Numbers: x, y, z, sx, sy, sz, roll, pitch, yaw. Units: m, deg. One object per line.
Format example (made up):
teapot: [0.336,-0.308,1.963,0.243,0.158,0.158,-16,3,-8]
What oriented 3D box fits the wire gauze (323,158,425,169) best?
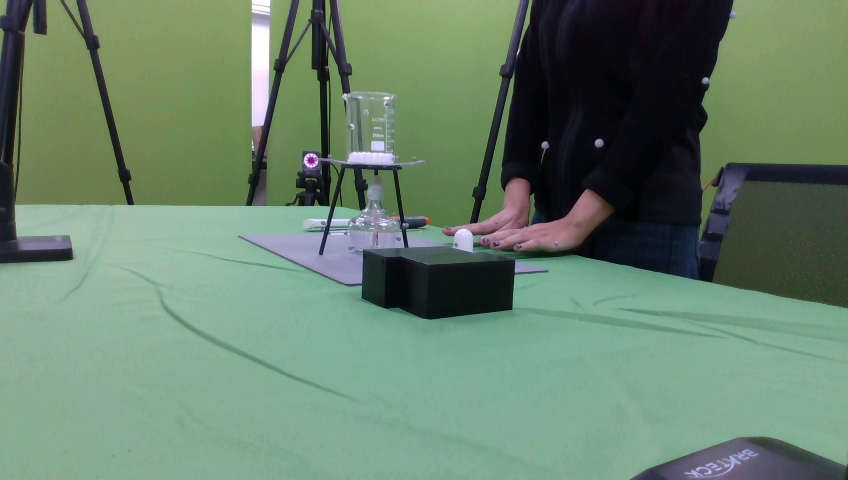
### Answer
wire gauze: [-0.080,-0.112,0.869,0.122,0.011,0.124,-6,12,-35]

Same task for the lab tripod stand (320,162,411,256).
lab tripod stand: [-0.080,-0.047,0.879,0.148,0.131,0.148,2,9,0]

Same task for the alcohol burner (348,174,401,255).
alcohol burner: [-0.073,-0.037,0.885,0.078,0.119,0.078,2,9,0]

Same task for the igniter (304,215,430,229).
igniter: [-0.109,-0.037,1.228,0.278,0.025,0.057,-3,-1,-35]

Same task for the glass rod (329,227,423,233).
glass rod: [-0.087,-0.019,1.148,0.201,0.008,0.008,-3,8,-32]

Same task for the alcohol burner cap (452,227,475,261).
alcohol burner cap: [0.057,0.005,0.872,0.034,0.048,0.034,3,7,0]

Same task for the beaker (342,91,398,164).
beaker: [-0.079,-0.160,0.867,0.084,0.100,0.073,-5,10,-34]
